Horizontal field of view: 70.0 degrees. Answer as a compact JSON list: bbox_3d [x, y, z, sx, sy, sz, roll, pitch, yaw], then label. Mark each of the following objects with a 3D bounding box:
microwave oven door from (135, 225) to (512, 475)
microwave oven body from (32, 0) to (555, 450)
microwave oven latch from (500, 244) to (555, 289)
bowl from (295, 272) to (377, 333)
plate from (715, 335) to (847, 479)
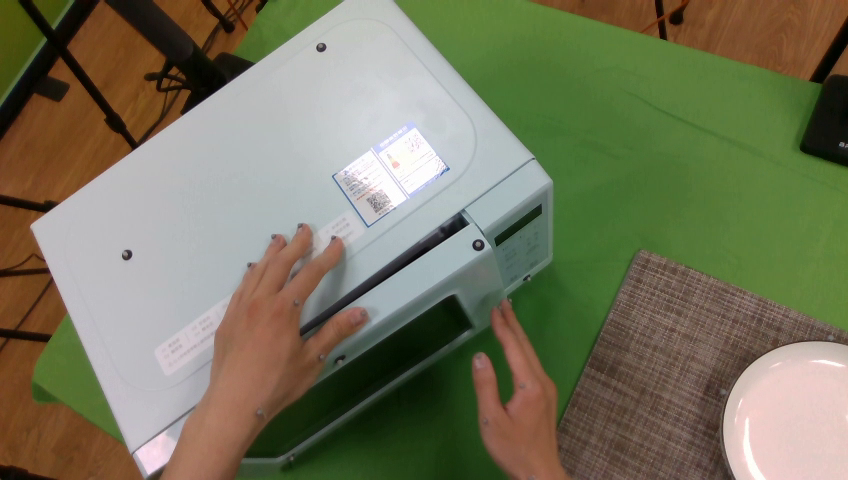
[{"bbox_3d":[-0.073,0.128,0.625,0.356,0.246,0.039,-34,67,-1],"label":"microwave oven door"},{"bbox_3d":[-0.124,-0.010,0.687,0.441,0.262,0.323,-37,69,-1],"label":"microwave oven body"},{"bbox_3d":[0.120,0.025,0.730,0.079,0.030,0.030,-35,69,-1],"label":"microwave oven latch"},{"bbox_3d":[-0.118,0.043,0.707,0.151,0.077,0.150,-5,66,11],"label":"bowl"},{"bbox_3d":[0.409,0.204,0.625,0.207,0.039,0.206,-3,71,10],"label":"plate"}]
